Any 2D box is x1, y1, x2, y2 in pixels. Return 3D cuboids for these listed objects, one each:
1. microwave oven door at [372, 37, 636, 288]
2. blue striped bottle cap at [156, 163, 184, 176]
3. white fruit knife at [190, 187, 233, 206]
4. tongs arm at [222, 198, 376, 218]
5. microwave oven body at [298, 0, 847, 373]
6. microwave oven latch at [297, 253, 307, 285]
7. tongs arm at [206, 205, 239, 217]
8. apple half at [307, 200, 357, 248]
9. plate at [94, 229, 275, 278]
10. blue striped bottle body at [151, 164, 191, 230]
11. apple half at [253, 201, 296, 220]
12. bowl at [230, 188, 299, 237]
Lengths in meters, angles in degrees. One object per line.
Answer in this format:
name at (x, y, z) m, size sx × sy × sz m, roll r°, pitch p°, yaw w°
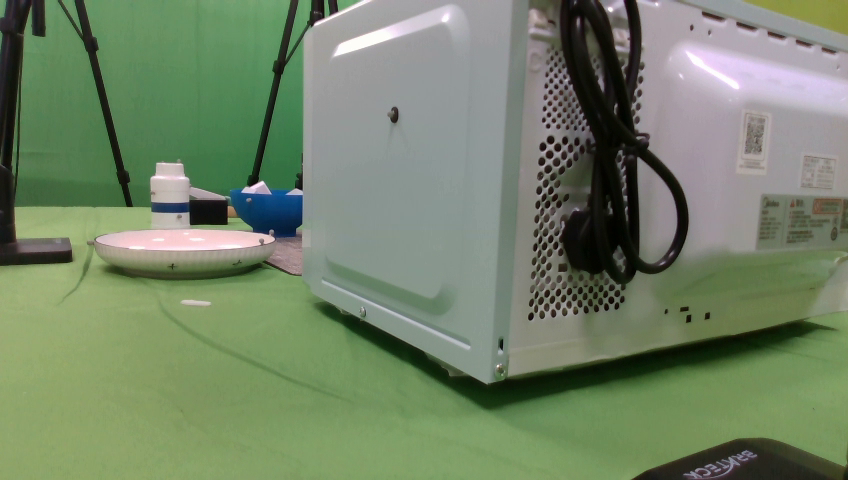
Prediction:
microwave oven door at (0.110, -0.080, 0.686) m, size 0.358 × 0.243 × 0.039 m, roll -2°, pitch 9°, yaw -33°
blue striped bottle cap at (-0.438, -0.122, 1.045) m, size 0.044 × 0.020 × 0.044 m, roll 5°, pitch 6°, yaw 0°
white fruit knife at (-0.413, -0.081, 1.270) m, size 0.208 × 0.027 × 0.016 m, roll 17°, pitch 13°, yaw -41°
tongs arm at (-0.309, -0.079, 1.487) m, size 0.385 × 0.026 × 0.050 m, roll 3°, pitch 7°, yaw -2°
microwave oven body at (0.151, -0.055, 0.542) m, size 0.444 × 0.260 × 0.324 m, roll -2°, pitch 7°, yaw -33°
microwave oven latch at (-0.081, 0.027, 0.582) m, size 0.079 × 0.029 × 0.030 m, roll -1°, pitch 7°, yaw -32°
tongs arm at (-0.302, -0.065, 1.407) m, size 0.389 × 0.028 × 0.028 m, roll 1°, pitch 4°, yaw -14°
apple half at (-0.135, -0.024, 0.941) m, size 0.053 × 0.074 × 0.081 m, roll 13°, pitch 8°, yaw 39°
plate at (-0.291, 0.016, 0.750) m, size 0.208 × 0.039 × 0.207 m, roll 2°, pitch 7°, yaw 0°
blue striped bottle body at (-0.439, -0.071, 1.052) m, size 0.063 × 0.120 × 0.063 m, roll 2°, pitch 7°, yaw 0°
apple half at (-0.264, -0.053, 1.066) m, size 0.081 × 0.033 × 0.081 m, roll 2°, pitch 8°, yaw 0°
bowl at (-0.264, -0.048, 1.066) m, size 0.151 × 0.077 × 0.151 m, roll 3°, pitch 8°, yaw 0°
